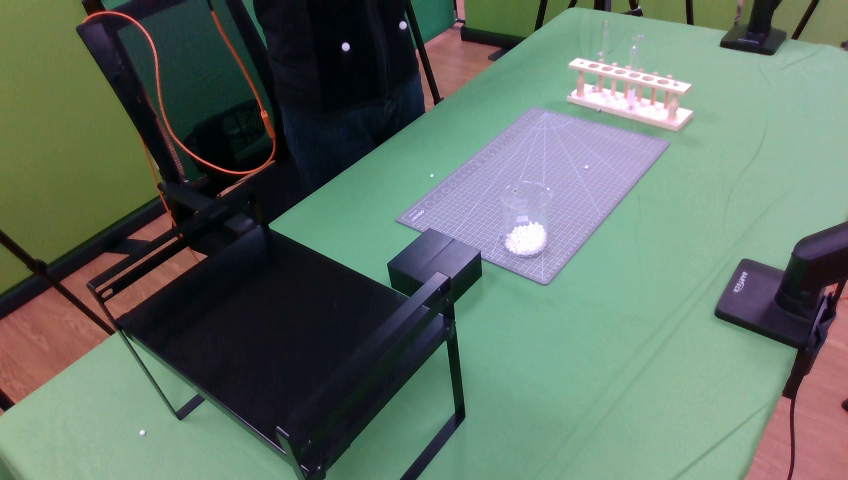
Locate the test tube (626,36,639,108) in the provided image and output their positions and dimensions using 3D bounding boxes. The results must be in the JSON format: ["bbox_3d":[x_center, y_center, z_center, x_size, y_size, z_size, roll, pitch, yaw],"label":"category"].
[{"bbox_3d":[0.402,-0.321,1.167,0.017,0.151,0.017,-7,43,7],"label":"test tube"}]

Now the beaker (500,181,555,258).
[{"bbox_3d":[0.158,-0.030,0.923,0.084,0.100,0.073,-13,41,-8],"label":"beaker"}]

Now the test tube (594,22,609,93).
[{"bbox_3d":[0.363,-0.371,1.238,0.017,0.151,0.017,-4,40,4],"label":"test tube"}]

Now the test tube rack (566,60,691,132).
[{"bbox_3d":[0.411,-0.299,1.217,0.240,0.085,0.067,26,51,33],"label":"test tube rack"}]
